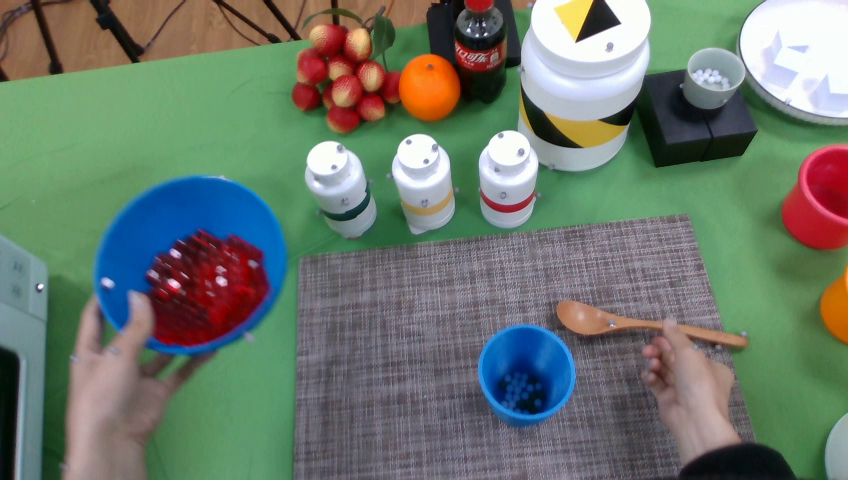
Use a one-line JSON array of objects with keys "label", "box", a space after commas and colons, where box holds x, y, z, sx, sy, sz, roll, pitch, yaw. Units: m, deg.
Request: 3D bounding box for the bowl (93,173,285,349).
[{"label": "bowl", "box": [-0.187, 0.027, 0.518, 0.151, 0.077, 0.150, 0, 68, 0]}]

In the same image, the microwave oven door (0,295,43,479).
[{"label": "microwave oven door", "box": [-0.416, 0.191, 0.504, 0.039, 0.246, 0.352, -15, 64, -1]}]

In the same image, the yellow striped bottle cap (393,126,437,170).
[{"label": "yellow striped bottle cap", "box": [-0.009, -0.095, 0.627, 0.044, 0.019, 0.044, -2, 66, 4]}]

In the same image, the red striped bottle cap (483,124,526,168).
[{"label": "red striped bottle cap", "box": [0.082, -0.097, 0.617, 0.044, 0.018, 0.044, -1, 63, 2]}]

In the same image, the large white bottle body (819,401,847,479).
[{"label": "large white bottle body", "box": [0.421, 0.168, 0.478, 0.130, 0.186, 0.129, -3, 64, 6]}]

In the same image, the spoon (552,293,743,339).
[{"label": "spoon", "box": [0.229, 0.083, 0.625, 0.193, 0.022, 0.041, 7, 44, 9]}]

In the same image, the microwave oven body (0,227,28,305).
[{"label": "microwave oven body", "box": [-0.567, 0.194, 0.524, 0.326, 0.262, 0.437, -15, 65, -2]}]

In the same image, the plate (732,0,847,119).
[{"label": "plate", "box": [0.484, -0.230, 0.742, 0.209, 0.038, 0.207, -2, 65, 5]}]

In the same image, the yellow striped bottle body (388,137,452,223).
[{"label": "yellow striped bottle body", "box": [-0.004, -0.073, 0.673, 0.063, 0.121, 0.062, -3, 64, 6]}]

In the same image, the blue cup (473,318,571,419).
[{"label": "blue cup", "box": [0.090, 0.130, 0.574, 0.092, 0.101, 0.092, -2, 64, 4]}]

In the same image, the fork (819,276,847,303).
[{"label": "fork", "box": [0.466, 0.061, 0.544, 0.028, 0.019, 0.206, -39, 23, -17]}]

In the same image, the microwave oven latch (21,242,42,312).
[{"label": "microwave oven latch", "box": [-0.457, 0.044, 0.691, 0.030, 0.030, 0.078, -14, 65, -1]}]

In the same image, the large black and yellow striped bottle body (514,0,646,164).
[{"label": "large black and yellow striped bottle body", "box": [0.168, -0.184, 0.673, 0.130, 0.185, 0.129, -2, 64, 5]}]

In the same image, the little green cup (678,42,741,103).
[{"label": "little green cup", "box": [0.319, -0.187, 0.683, 0.061, 0.039, 0.061, -2, 63, 4]}]

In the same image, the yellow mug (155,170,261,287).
[{"label": "yellow mug", "box": [-0.250, -0.009, 0.699, 0.100, 0.064, 0.130, 3, 66, 7]}]

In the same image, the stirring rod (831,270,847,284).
[{"label": "stirring rod", "box": [0.438, 0.064, 0.552, 0.014, 0.006, 0.175, -13, 21, -1]}]

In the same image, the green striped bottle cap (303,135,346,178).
[{"label": "green striped bottle cap", "box": [-0.104, -0.088, 0.633, 0.044, 0.020, 0.044, -2, 63, 4]}]

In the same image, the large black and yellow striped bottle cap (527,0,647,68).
[{"label": "large black and yellow striped bottle cap", "box": [0.159, -0.219, 0.596, 0.115, 0.019, 0.114, -3, 63, 6]}]

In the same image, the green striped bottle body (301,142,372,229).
[{"label": "green striped bottle body", "box": [-0.098, -0.065, 0.680, 0.063, 0.120, 0.062, -2, 64, 5]}]

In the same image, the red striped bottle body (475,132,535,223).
[{"label": "red striped bottle body", "box": [0.089, -0.073, 0.664, 0.063, 0.121, 0.062, -4, 62, 9]}]
